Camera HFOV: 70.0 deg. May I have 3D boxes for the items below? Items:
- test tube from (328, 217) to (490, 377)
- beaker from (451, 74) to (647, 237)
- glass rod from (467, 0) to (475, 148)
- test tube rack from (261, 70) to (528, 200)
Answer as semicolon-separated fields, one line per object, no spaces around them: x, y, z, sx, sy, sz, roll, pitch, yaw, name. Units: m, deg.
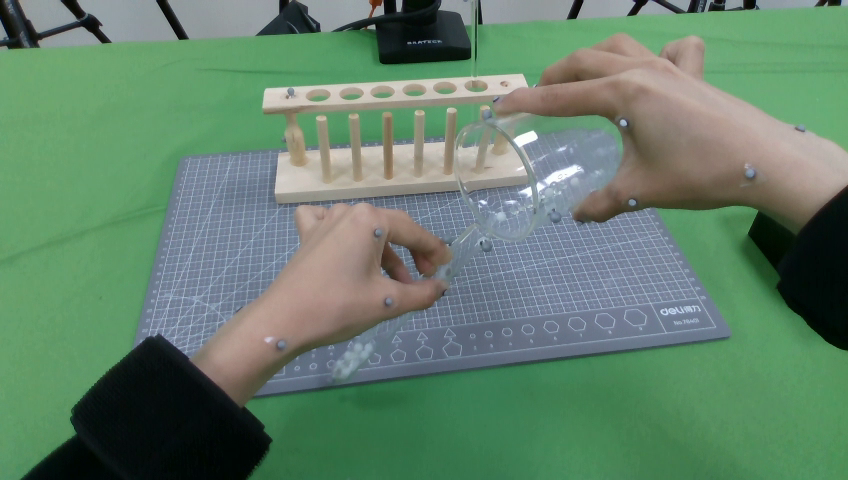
-0.013;0.041;0.398;0.150;0.017;0.017;-46;45;18;test tube
0.078;-0.053;0.371;0.100;0.084;0.073;-26;62;-25;beaker
0.043;-0.174;0.555;0.008;0.201;0.008;-1;38;2;glass rod
-0.024;-0.100;0.575;0.243;0.086;0.066;-5;45;-5;test tube rack
